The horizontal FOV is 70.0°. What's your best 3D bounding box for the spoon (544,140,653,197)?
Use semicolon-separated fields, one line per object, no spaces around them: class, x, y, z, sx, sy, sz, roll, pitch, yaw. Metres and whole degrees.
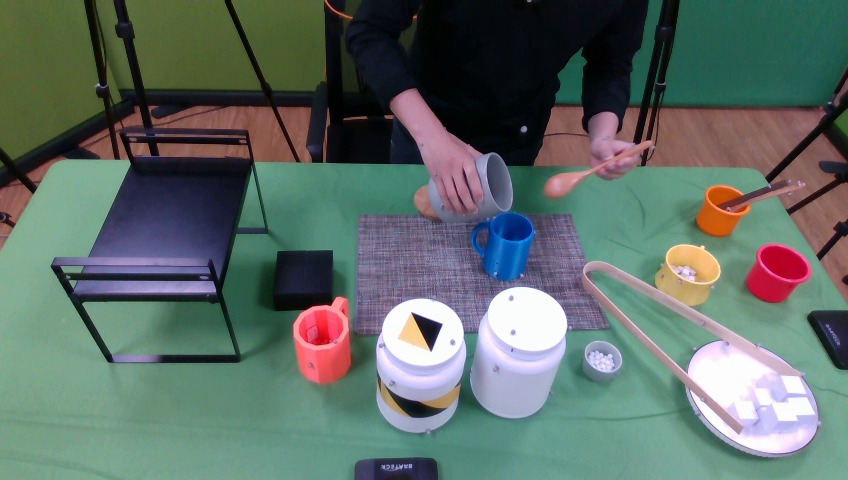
spoon;0.293;-0.124;1.019;0.194;0.022;0.041;-24;61;2

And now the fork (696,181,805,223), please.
fork;0.659;-0.077;1.231;0.207;0.019;0.028;-26;35;34

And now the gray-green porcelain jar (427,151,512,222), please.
gray-green porcelain jar;0.077;-0.090;1.068;0.126;0.106;0.105;-12;38;31

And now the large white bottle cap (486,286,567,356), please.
large white bottle cap;0.147;0.114;0.869;0.115;0.018;0.114;3;46;-3

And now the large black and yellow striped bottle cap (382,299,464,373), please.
large black and yellow striped bottle cap;-0.002;0.132;0.843;0.115;0.019;0.114;2;46;-2

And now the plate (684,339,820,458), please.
plate;0.523;0.256;0.982;0.208;0.039;0.206;2;46;-2

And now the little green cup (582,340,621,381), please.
little green cup;0.295;0.203;1.014;0.061;0.039;0.061;3;46;-3

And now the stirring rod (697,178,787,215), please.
stirring rod;0.650;-0.088;1.245;0.006;0.176;0.014;29;50;-39

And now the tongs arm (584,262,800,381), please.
tongs arm;0.451;0.137;1.064;0.051;0.027;0.382;-34;50;-27

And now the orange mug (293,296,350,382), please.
orange mug;-0.158;0.154;0.985;0.083;0.101;0.125;17;52;11

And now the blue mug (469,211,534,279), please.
blue mug;0.141;0.005;1.140;0.116;0.106;0.082;18;48;13

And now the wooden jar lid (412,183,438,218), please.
wooden jar lid;0.029;-0.083;1.276;0.108;0.021;0.107;3;43;-3

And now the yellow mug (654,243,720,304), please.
yellow mug;0.504;0.054;1.154;0.099;0.064;0.130;28;50;22

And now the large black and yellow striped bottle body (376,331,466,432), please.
large black and yellow striped bottle body;-0.007;0.189;0.905;0.131;0.185;0.130;2;46;-2

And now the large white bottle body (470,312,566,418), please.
large white bottle body;0.143;0.173;0.930;0.131;0.185;0.130;2;46;-2

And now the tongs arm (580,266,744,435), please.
tongs arm;0.384;0.173;1.028;0.028;0.028;0.385;-25;46;-15
